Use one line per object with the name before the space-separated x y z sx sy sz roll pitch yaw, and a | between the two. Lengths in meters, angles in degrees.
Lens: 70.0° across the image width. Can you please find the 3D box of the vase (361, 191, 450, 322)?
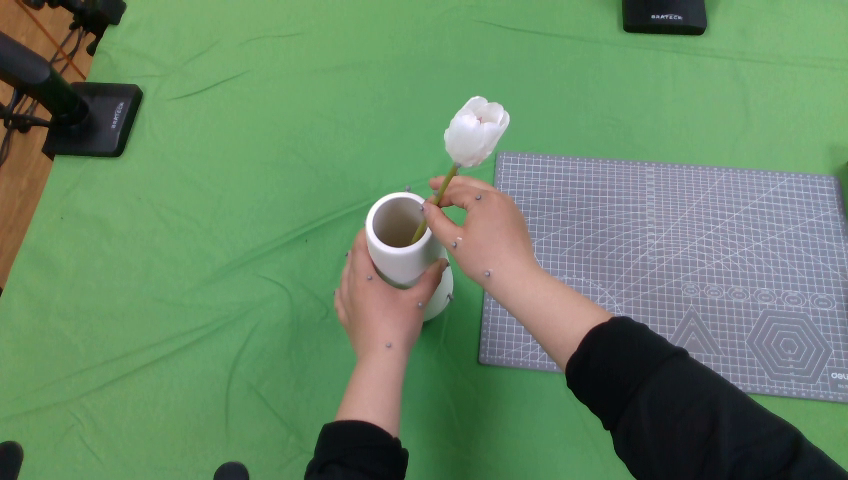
vase | -0.019 0.022 0.674 0.098 0.201 0.097 -1 66 2

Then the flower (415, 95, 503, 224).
flower | -0.009 -0.015 0.598 0.044 0.363 0.038 -14 68 -24
